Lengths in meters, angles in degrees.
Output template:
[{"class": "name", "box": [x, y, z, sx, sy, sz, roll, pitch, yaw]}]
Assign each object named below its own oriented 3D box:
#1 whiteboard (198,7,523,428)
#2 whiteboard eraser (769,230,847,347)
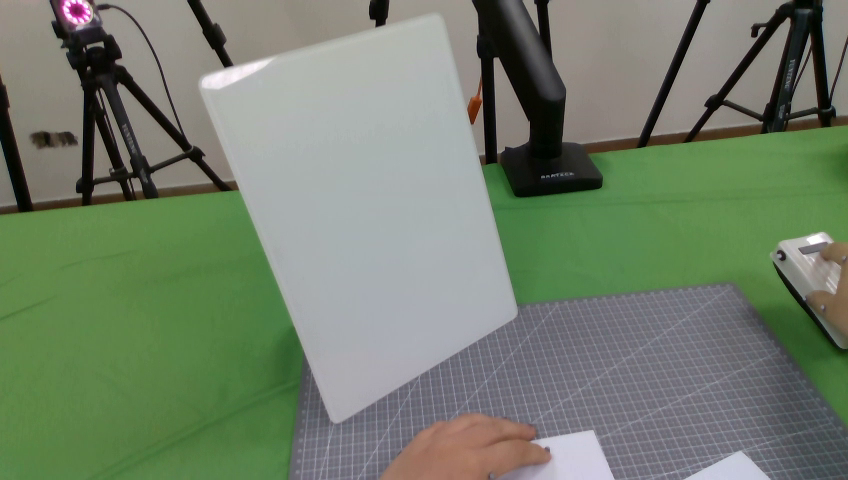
[{"class": "whiteboard", "box": [-0.063, -0.029, 0.573, 0.217, 0.307, 0.142, -26, 20, -25]}, {"class": "whiteboard eraser", "box": [0.373, 0.044, 0.555, 0.055, 0.042, 0.111, -14, 50, -4]}]
